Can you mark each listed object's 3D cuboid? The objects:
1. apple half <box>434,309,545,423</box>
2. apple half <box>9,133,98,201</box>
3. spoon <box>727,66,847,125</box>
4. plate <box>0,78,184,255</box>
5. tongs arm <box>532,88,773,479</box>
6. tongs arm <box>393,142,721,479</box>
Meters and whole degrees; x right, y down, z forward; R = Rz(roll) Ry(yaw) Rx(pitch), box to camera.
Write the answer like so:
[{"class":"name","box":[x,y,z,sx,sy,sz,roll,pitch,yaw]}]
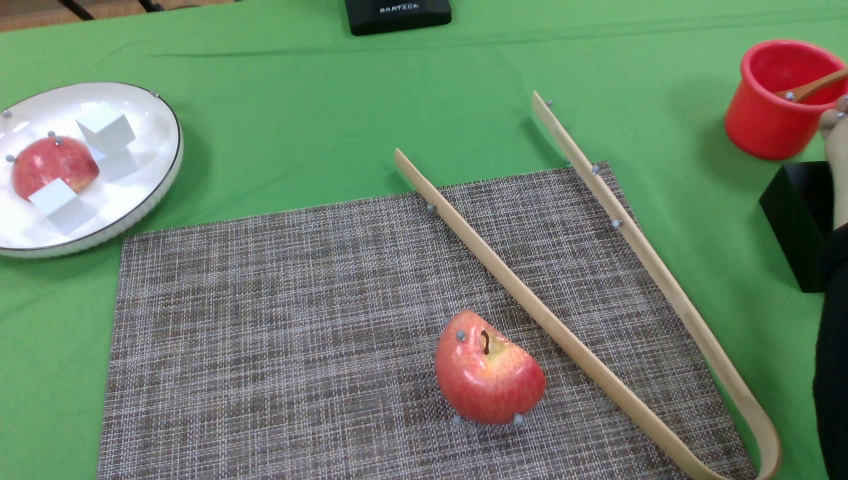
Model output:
[{"class":"apple half","box":[0.037,0.096,0.421,0.080,0.075,0.053,38,68,20]},{"class":"apple half","box":[-0.348,-0.074,0.561,0.081,0.033,0.080,-2,54,3]},{"class":"spoon","box":[0.374,-0.146,0.541,0.193,0.022,0.041,-21,38,43]},{"class":"plate","box":[-0.326,-0.069,0.564,0.209,0.038,0.207,0,55,1]},{"class":"tongs arm","box":[0.162,0.010,0.503,0.051,0.027,0.380,-19,58,-13]},{"class":"tongs arm","box":[0.088,0.043,0.483,0.028,0.028,0.384,-29,61,-23]}]
